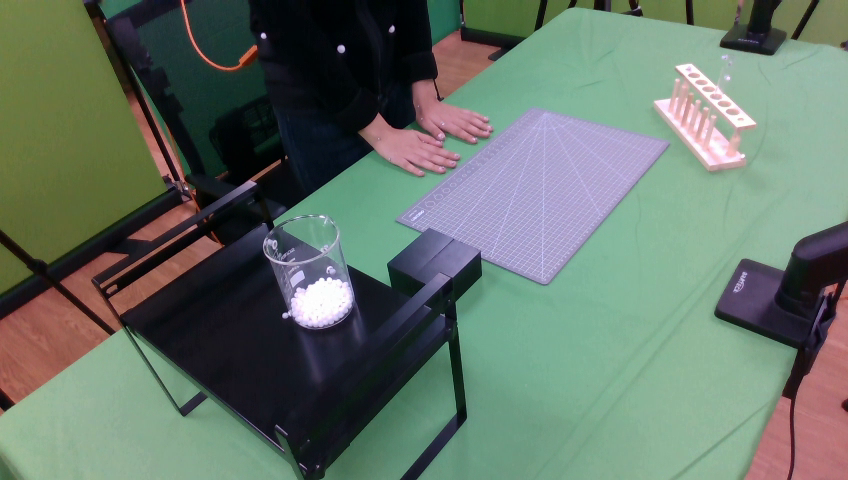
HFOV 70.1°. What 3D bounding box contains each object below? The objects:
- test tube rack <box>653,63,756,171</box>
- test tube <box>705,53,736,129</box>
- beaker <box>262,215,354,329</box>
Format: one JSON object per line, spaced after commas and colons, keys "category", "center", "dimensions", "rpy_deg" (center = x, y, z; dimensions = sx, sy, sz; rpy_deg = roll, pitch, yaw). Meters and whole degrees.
{"category": "test tube rack", "center": [0.510, -0.233, 1.120], "dimensions": [0.067, 0.085, 0.241], "rpy_deg": [-9, 41, -1]}
{"category": "test tube", "center": [0.525, -0.260, 1.074], "dimensions": [0.017, 0.151, 0.017], "rpy_deg": [-3, 44, 3]}
{"category": "beaker", "center": [-0.112, 0.034, 0.616], "dimensions": [0.073, 0.101, 0.084], "rpy_deg": [13, 44, 23]}
